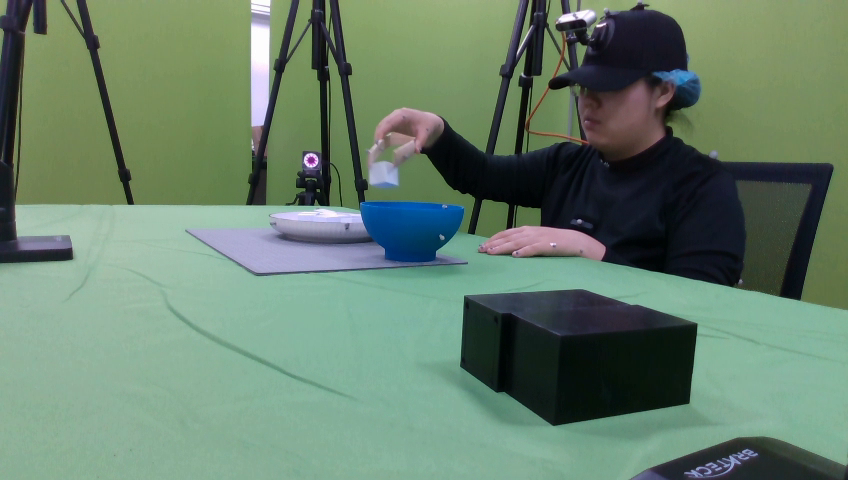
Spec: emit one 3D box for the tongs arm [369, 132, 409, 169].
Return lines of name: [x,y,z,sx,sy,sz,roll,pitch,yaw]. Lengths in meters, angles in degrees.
tongs arm: [-0.056,-0.162,1.058,0.051,0.026,0.384,3,15,-1]

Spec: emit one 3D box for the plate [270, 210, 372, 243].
plate: [-0.161,-0.023,1.054,0.208,0.039,0.207,2,7,0]

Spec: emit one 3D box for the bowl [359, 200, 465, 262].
bowl: [-0.018,-0.013,0.859,0.151,0.077,0.151,2,7,0]

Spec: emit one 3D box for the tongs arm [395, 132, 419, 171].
tongs arm: [-0.030,-0.159,1.058,0.028,0.028,0.387,1,15,3]
